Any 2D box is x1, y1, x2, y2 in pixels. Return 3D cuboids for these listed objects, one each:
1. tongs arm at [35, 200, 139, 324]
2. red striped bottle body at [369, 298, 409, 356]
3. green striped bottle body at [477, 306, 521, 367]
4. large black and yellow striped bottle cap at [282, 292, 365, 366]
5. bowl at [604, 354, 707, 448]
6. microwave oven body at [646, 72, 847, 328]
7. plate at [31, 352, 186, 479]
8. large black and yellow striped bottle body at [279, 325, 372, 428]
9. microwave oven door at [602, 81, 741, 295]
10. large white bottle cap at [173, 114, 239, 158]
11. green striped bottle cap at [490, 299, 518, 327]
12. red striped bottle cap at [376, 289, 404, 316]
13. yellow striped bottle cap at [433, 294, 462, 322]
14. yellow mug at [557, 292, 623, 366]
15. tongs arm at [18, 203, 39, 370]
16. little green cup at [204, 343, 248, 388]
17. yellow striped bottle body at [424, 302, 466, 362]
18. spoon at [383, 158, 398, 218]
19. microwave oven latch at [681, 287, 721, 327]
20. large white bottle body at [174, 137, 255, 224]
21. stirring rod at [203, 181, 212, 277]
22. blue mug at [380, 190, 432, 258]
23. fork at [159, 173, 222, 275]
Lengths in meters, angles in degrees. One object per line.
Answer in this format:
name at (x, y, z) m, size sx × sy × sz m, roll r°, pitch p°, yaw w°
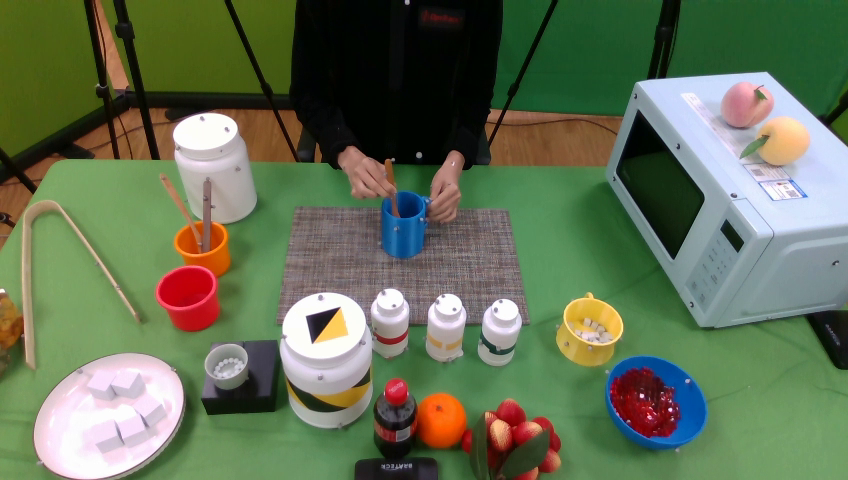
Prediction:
tongs arm at (-0.622, 0.034, 1.105) m, size 0.051 × 0.026 × 0.382 m, roll -32°, pitch 55°, yaw -26°
red striped bottle body at (-0.058, 0.134, 0.997) m, size 0.063 × 0.120 × 0.062 m, roll 4°, pitch 47°, yaw -4°
green striped bottle body at (0.124, 0.151, 0.995) m, size 0.063 × 0.120 × 0.063 m, roll 2°, pitch 46°, yaw -2°
large black and yellow striped bottle cap at (-0.139, 0.121, 0.841) m, size 0.115 × 0.019 × 0.114 m, roll 3°, pitch 47°, yaw -3°
bowl at (0.346, 0.261, 0.937) m, size 0.151 × 0.077 × 0.150 m, roll 2°, pitch 46°, yaw -2°
microwave oven body at (0.607, -0.089, 1.164) m, size 0.326 × 0.261 × 0.438 m, roll -7°, pitch 46°, yaw -10°
plate at (-0.459, 0.262, 0.898) m, size 0.209 × 0.038 × 0.208 m, roll 2°, pitch 45°, yaw -2°
large black and yellow striped bottle body at (-0.143, 0.181, 0.900) m, size 0.131 × 0.185 × 0.130 m, roll 2°, pitch 46°, yaw -2°
microwave oven door at (0.456, -0.107, 1.162) m, size 0.039 × 0.245 × 0.353 m, roll -7°, pitch 47°, yaw -11°
large white bottle cap at (-0.403, -0.195, 1.122) m, size 0.115 × 0.018 × 0.114 m, roll 2°, pitch 47°, yaw -2°
green striped bottle cap at (0.127, 0.115, 0.958) m, size 0.044 × 0.020 × 0.044 m, roll 3°, pitch 48°, yaw -3°
red striped bottle cap at (-0.055, 0.098, 0.959) m, size 0.044 × 0.018 × 0.044 m, roll 0°, pitch 48°, yaw 0°
yellow striped bottle cap at (0.037, 0.107, 0.958) m, size 0.044 × 0.019 × 0.044 m, roll 2°, pitch 45°, yaw -2°
yellow mug at (0.285, 0.145, 1.051) m, size 0.100 × 0.064 × 0.130 m, roll 7°, pitch 45°, yaw 4°
tongs arm at (-0.698, 0.069, 1.069) m, size 0.028 × 0.028 × 0.385 m, roll -20°, pitch 50°, yaw -13°
little green cup at (-0.294, 0.190, 0.909) m, size 0.061 × 0.039 × 0.061 m, roll 1°, pitch 48°, yaw 0°
yellow striped bottle body at (0.035, 0.143, 0.995) m, size 0.063 × 0.121 × 0.062 m, roll 3°, pitch 46°, yaw -3°
spoon at (-0.061, -0.070, 1.110) m, size 0.041 × 0.195 × 0.021 m, roll -2°, pitch 39°, yaw 4°
microwave oven latch at (0.494, 0.120, 1.087) m, size 0.030 × 0.029 × 0.078 m, roll -6°, pitch 46°, yaw -9°
large white bottle body at (-0.408, -0.136, 1.183) m, size 0.131 × 0.185 × 0.130 m, roll 2°, pitch 46°, yaw -2°
stirring rod at (-0.396, -0.021, 1.107) m, size 0.014 × 0.006 × 0.176 m, roll -1°, pitch 89°, yaw -1°
blue mug at (-0.030, -0.037, 1.169) m, size 0.116 × 0.106 × 0.082 m, roll -29°, pitch 55°, yaw -28°
fork at (-0.427, -0.029, 1.103) m, size 0.028 × 0.018 × 0.207 m, roll -31°, pitch 99°, yaw -30°
